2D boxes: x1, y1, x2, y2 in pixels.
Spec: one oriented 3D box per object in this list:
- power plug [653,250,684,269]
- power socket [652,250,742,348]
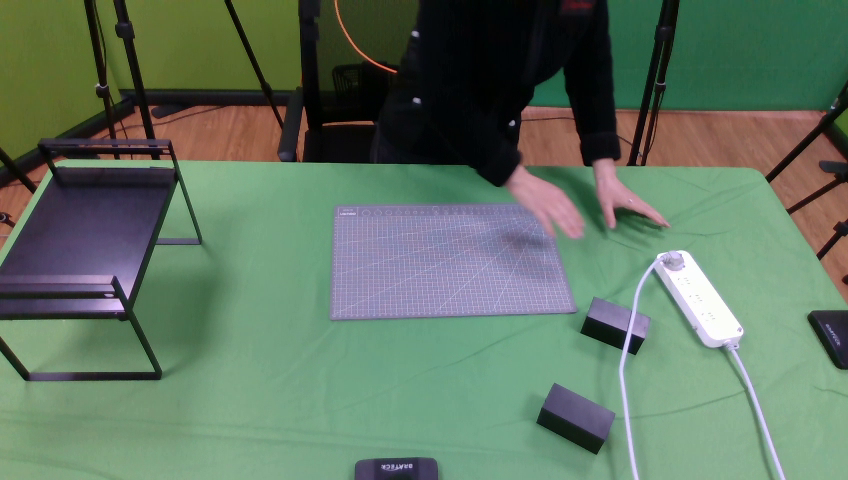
[{"bbox_3d":[0.459,0.040,1.155,0.072,0.053,0.035,0,46,-5],"label":"power plug"},{"bbox_3d":[0.503,0.104,1.127,0.072,0.033,0.225,-8,48,-11],"label":"power socket"}]
